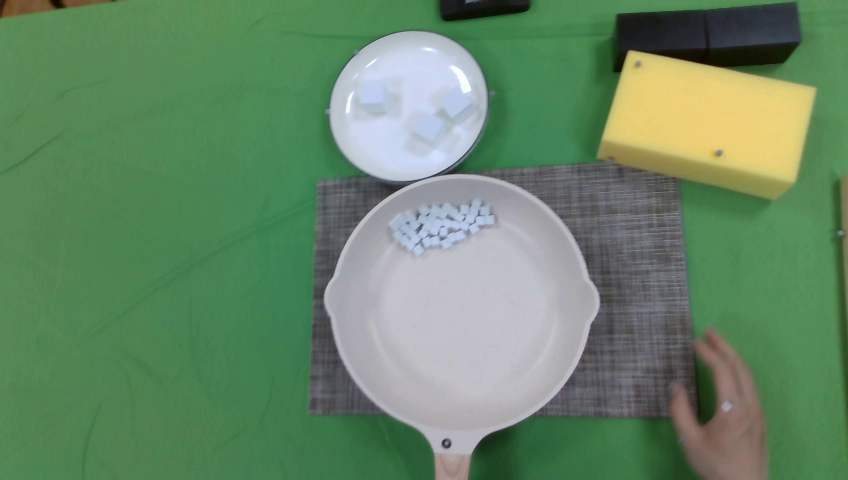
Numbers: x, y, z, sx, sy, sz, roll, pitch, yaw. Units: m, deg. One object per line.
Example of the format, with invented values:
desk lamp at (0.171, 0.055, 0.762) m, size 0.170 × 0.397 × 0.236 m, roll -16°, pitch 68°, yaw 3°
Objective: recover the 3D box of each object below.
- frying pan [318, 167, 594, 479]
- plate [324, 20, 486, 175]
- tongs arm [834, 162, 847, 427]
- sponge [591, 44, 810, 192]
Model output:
frying pan at (0.028, 0.161, 0.664) m, size 0.306 × 0.103 × 0.484 m, roll 1°, pitch 71°, yaw 11°
plate at (-0.023, -0.180, 0.779) m, size 0.207 × 0.039 × 0.206 m, roll -2°, pitch 79°, yaw 9°
tongs arm at (0.464, 0.104, 0.647) m, size 0.028 × 0.028 × 0.386 m, roll 1°, pitch 79°, yaw 7°
sponge at (0.314, -0.142, 0.703) m, size 0.206 × 0.061 × 0.118 m, roll 15°, pitch 79°, yaw 12°
